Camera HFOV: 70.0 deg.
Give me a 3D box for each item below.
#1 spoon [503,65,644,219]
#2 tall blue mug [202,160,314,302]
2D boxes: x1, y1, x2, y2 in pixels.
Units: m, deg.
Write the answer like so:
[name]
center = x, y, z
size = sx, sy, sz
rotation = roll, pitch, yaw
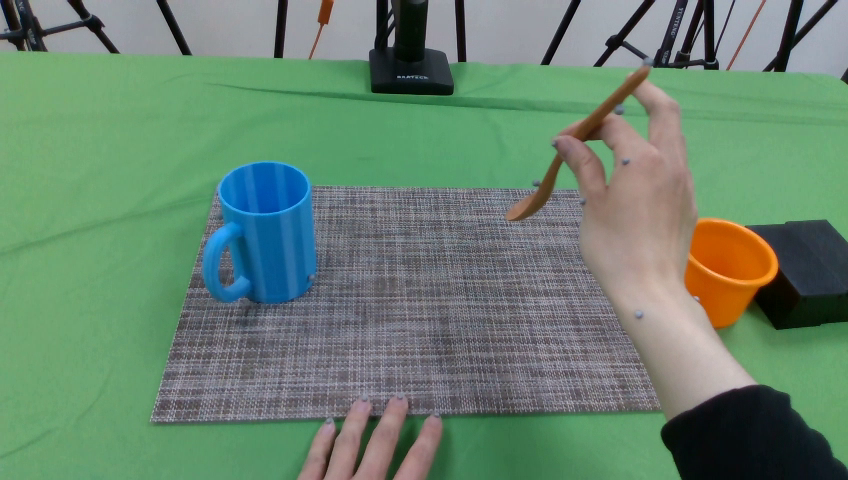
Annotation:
[spoon]
center = 0.104, -0.065, 0.453
size = 0.021, 0.194, 0.041
rotation = 41, 61, 8
[tall blue mug]
center = -0.142, 0.003, 0.540
size = 0.078, 0.109, 0.106
rotation = 7, 43, -1
